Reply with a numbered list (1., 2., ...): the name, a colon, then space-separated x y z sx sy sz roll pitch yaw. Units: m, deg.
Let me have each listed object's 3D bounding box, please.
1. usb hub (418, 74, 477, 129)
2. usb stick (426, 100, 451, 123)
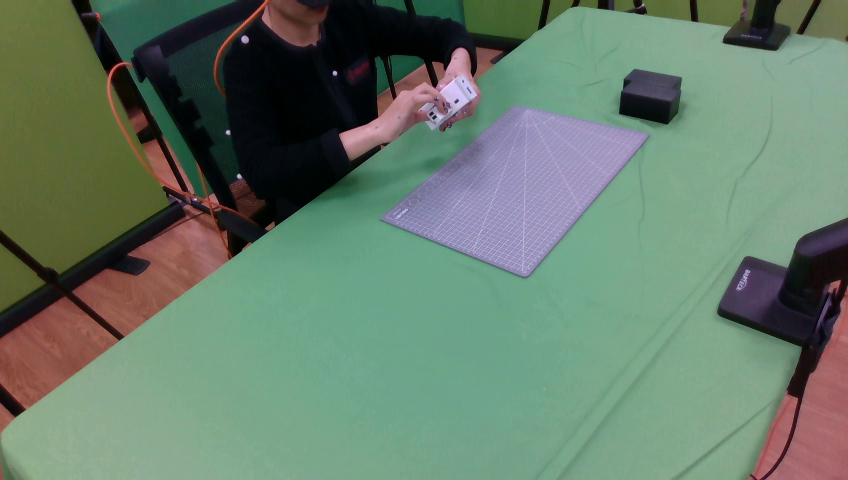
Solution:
1. usb hub: 0.041 -0.257 1.127 0.124 0.049 0.025 -28 12 50
2. usb stick: 0.030 -0.238 1.109 0.027 0.021 0.059 46 47 2
